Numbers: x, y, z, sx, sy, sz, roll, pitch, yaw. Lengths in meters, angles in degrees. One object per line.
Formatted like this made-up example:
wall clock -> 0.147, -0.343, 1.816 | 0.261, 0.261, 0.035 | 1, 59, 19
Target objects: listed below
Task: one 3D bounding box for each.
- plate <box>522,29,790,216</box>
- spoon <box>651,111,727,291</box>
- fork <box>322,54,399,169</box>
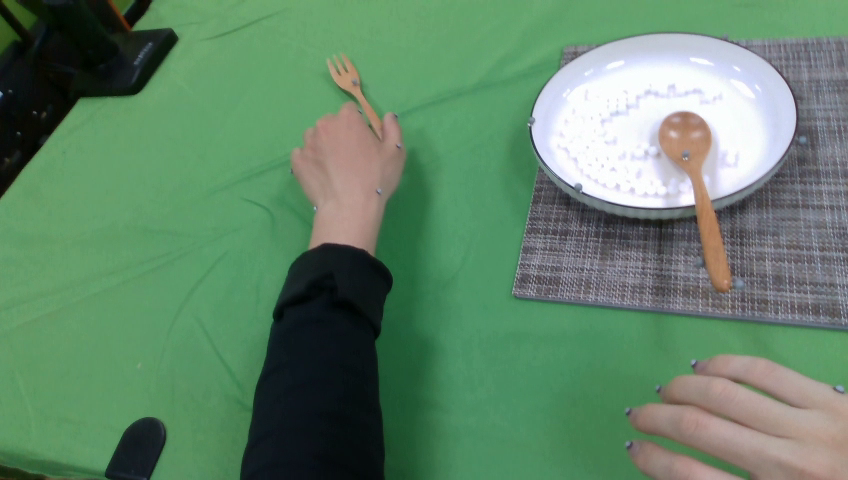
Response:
plate -> 0.189, -0.099, 0.515 | 0.207, 0.039, 0.205 | -8, 53, 11
spoon -> 0.197, -0.037, 0.447 | 0.041, 0.022, 0.192 | 0, 41, 12
fork -> -0.068, -0.140, 0.639 | 0.028, 0.019, 0.205 | -23, 50, -10
